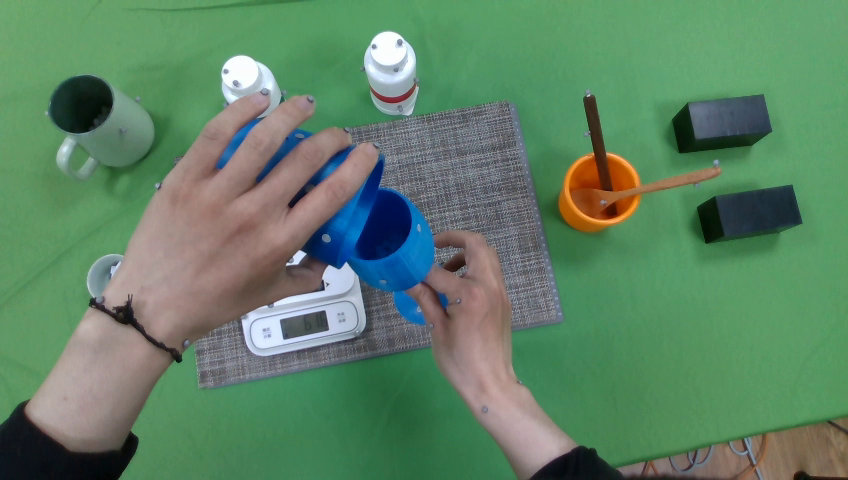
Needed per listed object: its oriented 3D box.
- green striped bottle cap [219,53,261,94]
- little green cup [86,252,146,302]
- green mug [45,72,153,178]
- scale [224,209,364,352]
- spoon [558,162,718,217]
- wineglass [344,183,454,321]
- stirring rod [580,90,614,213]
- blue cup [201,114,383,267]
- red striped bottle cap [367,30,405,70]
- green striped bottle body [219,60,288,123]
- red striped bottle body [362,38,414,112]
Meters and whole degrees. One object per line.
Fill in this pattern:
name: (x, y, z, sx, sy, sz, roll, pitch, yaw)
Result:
green striped bottle cap: (-0.212, -0.192, 0.699, 0.044, 0.020, 0.044, 0, 79, 1)
little green cup: (-0.378, 0.048, 0.750, 0.061, 0.039, 0.061, 0, 79, -1)
green mug: (-0.409, -0.135, 0.751, 0.092, 0.105, 0.125, 24, 80, 4)
scale: (-0.163, 0.030, 0.754, 0.149, 0.031, 0.200, -11, 80, -2)
spoon: (0.247, -0.062, 0.719, 0.022, 0.193, 0.041, -7, 86, -46)
wineglass: (-0.020, 0.018, 0.523, 0.073, 0.174, 0.073, -4, 67, 11)
stirring rod: (0.208, -0.100, 0.725, 0.014, 0.178, 0.006, 1, 44, 29)
blue cup: (-0.091, -0.039, 0.412, 0.100, 0.093, 0.092, 22, 80, 1)
red striped bottle cap: (-0.045, -0.223, 0.708, 0.044, 0.018, 0.044, 0, 76, 1)
green striped bottle body: (-0.212, -0.180, 0.753, 0.063, 0.119, 0.063, 0, 79, 0)
red striped bottle body: (-0.044, -0.213, 0.761, 0.063, 0.120, 0.063, 0, 79, 0)
